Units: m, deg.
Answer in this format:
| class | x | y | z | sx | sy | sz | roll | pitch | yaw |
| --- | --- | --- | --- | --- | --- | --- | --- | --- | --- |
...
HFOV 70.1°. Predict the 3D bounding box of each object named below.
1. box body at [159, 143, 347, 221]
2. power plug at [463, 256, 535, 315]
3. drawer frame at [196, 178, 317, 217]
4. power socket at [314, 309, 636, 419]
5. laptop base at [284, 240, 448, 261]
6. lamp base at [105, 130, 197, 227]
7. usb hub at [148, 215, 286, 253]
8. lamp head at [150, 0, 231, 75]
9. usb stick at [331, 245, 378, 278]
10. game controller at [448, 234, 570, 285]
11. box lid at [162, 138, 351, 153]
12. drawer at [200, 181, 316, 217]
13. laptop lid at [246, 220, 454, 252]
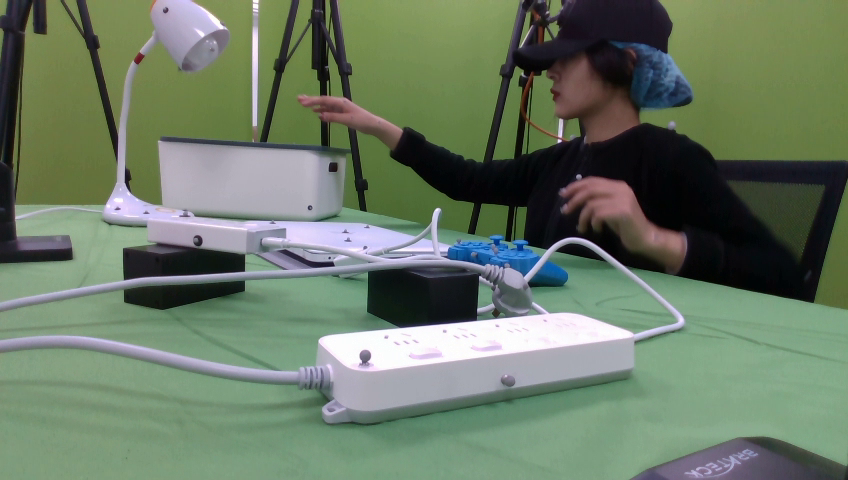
| class | x | y | z | sx | sy | sz | roll | pitch | yaw |
| --- | --- | --- | --- | --- | --- | --- | --- | --- | --- |
| box body | -0.384 | -0.137 | 1.406 | 0.364 | 0.160 | 0.254 | 3 | 8 | 7 |
| power plug | 0.064 | 0.039 | 0.530 | 0.072 | 0.052 | 0.035 | 32 | 43 | 7 |
| drawer frame | -0.376 | -0.101 | 1.393 | 0.213 | 0.082 | 0.202 | 1 | 8 | 6 |
| power socket | 0.039 | 0.072 | 0.385 | 0.228 | 0.032 | 0.072 | -2 | 7 | -28 |
| laptop base | -0.125 | 0.002 | 0.945 | 0.237 | 0.023 | 0.352 | 2 | 6 | -31 |
| lamp base | -0.532 | -0.120 | 1.153 | 0.179 | 0.180 | 0.161 | 1 | 7 | 8 |
| usb hub | -0.197 | -0.006 | 0.575 | 0.125 | 0.025 | 0.050 | 6 | 7 | 22 |
| lamp head | -0.432 | -0.374 | 1.086 | 0.123 | 0.112 | 0.112 | 42 | 8 | -2 |
| usb stick | -0.085 | 0.026 | 0.701 | 0.059 | 0.027 | 0.021 | -19 | 17 | 26 |
| game controller | 0.099 | 0.021 | 0.756 | 0.097 | 0.051 | 0.154 | -7 | 10 | -29 |
| box lid | -0.371 | -0.215 | 1.394 | 0.371 | 0.015 | 0.263 | 4 | 8 | 7 |
| drawer | -0.372 | -0.097 | 1.393 | 0.212 | 0.073 | 0.194 | 1 | 9 | 6 |
| laptop lid | -0.123 | -0.009 | 0.945 | 0.243 | 0.013 | 0.355 | 1 | 7 | -29 |
